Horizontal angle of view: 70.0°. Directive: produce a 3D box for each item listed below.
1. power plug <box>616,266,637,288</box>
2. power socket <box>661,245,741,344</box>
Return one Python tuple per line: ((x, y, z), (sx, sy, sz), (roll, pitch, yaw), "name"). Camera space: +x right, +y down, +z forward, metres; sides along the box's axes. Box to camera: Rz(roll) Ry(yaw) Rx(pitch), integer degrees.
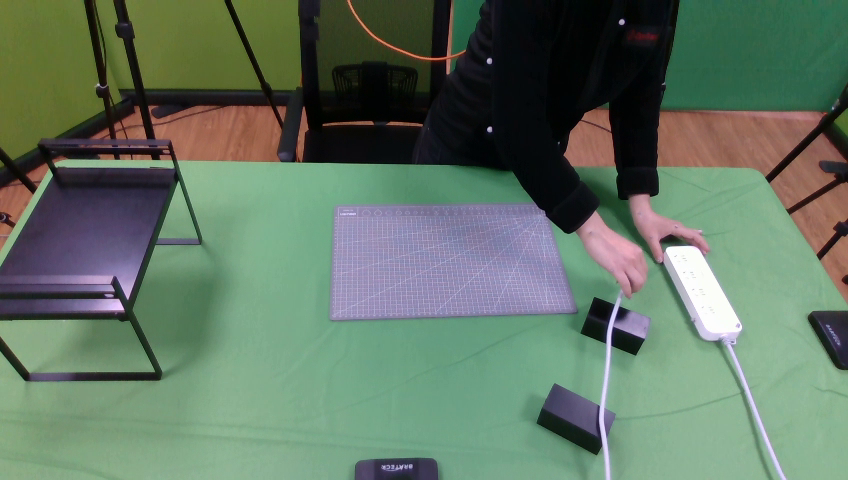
((0.356, 0.071, 1.095), (0.072, 0.053, 0.035), (-24, 64, -29), "power plug")
((0.516, 0.094, 1.137), (0.072, 0.033, 0.225), (-3, 47, -6), "power socket")
